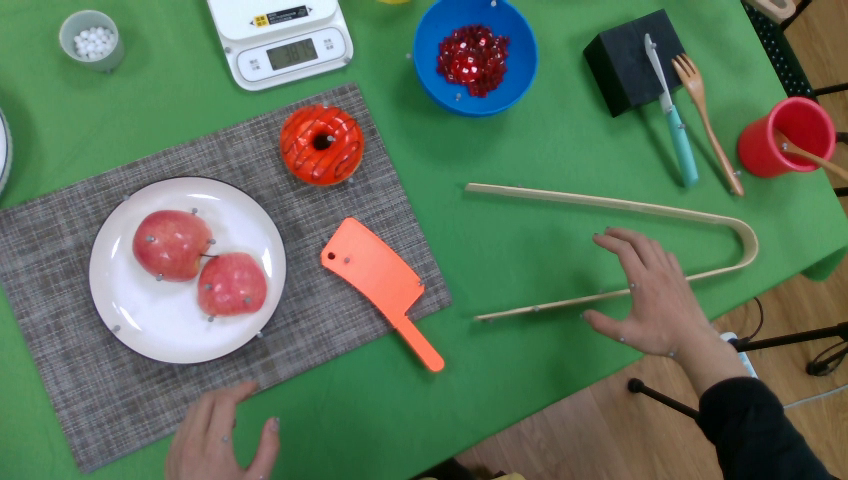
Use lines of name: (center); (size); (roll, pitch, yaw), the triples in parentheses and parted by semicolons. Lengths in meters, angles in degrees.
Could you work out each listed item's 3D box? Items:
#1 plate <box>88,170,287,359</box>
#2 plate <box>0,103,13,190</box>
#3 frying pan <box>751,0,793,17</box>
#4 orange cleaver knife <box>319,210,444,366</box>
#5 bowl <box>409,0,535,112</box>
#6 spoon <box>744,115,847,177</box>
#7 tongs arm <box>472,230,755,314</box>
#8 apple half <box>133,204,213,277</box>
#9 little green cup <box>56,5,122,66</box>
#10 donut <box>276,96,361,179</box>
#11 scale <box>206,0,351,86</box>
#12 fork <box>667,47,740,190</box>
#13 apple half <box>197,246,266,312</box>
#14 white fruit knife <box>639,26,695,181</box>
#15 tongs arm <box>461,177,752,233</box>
plate: (-0.259, 0.027, 0.678); (0.209, 0.038, 0.208); (1, 83, -9)
plate: (-0.550, -0.097, 0.649); (0.208, 0.039, 0.207); (1, 83, -9)
frying pan: (0.268, -0.438, 0.785); (0.487, 0.103, 0.306); (38, 80, 5)
orange cleaver knife: (-0.038, 0.056, 0.720); (0.077, 0.012, 0.211); (-43, 90, -16)
bowl: (0.052, -0.221, 0.740); (0.152, 0.077, 0.151); (1, 84, -9)
spoon: (0.489, -0.109, 0.764); (0.041, 0.022, 0.191); (-29, 45, -12)
tongs arm: (0.244, 0.038, 0.764); (0.386, 0.026, 0.050); (-8, 78, -10)
apple half: (-0.278, -0.003, 0.663); (0.075, 0.053, 0.080); (27, 79, -2)
little green cup: (-0.379, -0.231, 0.691); (0.062, 0.038, 0.061); (1, 83, -8)
donut: (-0.124, -0.120, 0.713); (0.099, 0.048, 0.099); (1, 85, -7)
scale: (-0.186, -0.298, 0.733); (0.149, 0.031, 0.200); (-20, 88, -10)
fork: (0.369, -0.156, 0.791); (0.028, 0.018, 0.208); (-34, 105, -14)
apple half: (-0.219, 0.044, 0.676); (0.081, 0.033, 0.081); (0, 87, -7)
white fruit knife: (0.310, -0.172, 0.775); (0.016, 0.027, 0.208); (-26, 103, -11)
tongs arm: (0.238, -0.048, 0.779); (0.388, 0.028, 0.028); (7, 72, -7)
